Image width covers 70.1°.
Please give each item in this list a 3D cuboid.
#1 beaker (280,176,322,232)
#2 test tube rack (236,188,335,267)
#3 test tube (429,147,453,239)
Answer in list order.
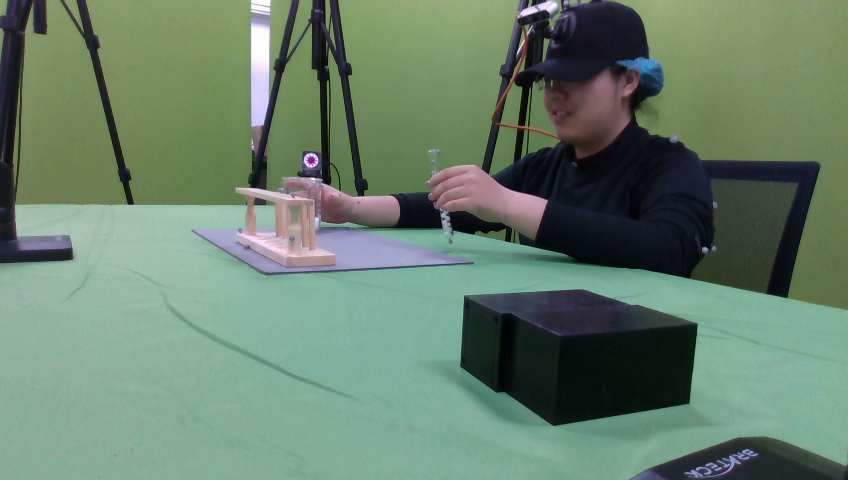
[{"bbox_3d":[-0.224,-0.065,1.111,0.074,0.100,0.083,-2,10,-30],"label":"beaker"},{"bbox_3d":[-0.202,-0.024,0.855,0.067,0.085,0.241,-2,8,-31],"label":"test tube rack"},{"bbox_3d":[0.028,-0.075,0.978,0.017,0.150,0.017,-10,6,1],"label":"test tube"}]
